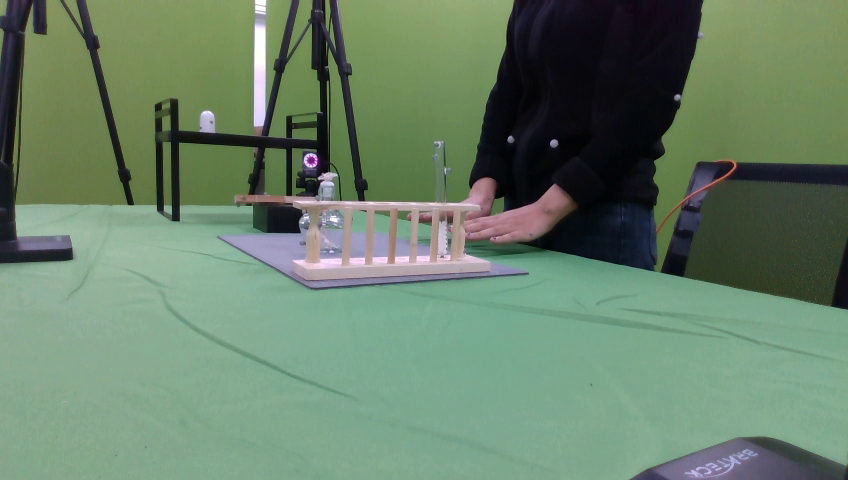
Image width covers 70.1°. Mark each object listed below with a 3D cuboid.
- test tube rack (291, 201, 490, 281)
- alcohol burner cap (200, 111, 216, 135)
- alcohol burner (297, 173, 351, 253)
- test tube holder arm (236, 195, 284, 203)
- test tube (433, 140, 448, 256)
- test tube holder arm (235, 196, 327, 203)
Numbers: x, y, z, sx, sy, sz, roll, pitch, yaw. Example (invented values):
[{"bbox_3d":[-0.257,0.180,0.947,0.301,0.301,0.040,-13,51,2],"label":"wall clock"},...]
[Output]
[{"bbox_3d":[-0.035,-0.002,0.745,0.243,0.085,0.066,-1,8,-28],"label":"test tube rack"},{"bbox_3d":[-0.448,-0.243,1.255,0.034,0.048,0.034,2,7,0],"label":"alcohol burner cap"},{"bbox_3d":[-0.146,-0.040,0.894,0.078,0.119,0.078,5,7,0],"label":"alcohol burner"},{"bbox_3d":[-0.304,-0.075,1.123,0.088,0.015,0.010,-2,4,-33],"label":"test tube holder arm"},{"bbox_3d":[0.021,-0.054,0.785,0.017,0.150,0.017,-2,8,1],"label":"test tube"},{"bbox_3d":[-0.270,-0.077,1.153,0.179,0.015,0.013,-2,4,-34],"label":"test tube holder arm"}]
